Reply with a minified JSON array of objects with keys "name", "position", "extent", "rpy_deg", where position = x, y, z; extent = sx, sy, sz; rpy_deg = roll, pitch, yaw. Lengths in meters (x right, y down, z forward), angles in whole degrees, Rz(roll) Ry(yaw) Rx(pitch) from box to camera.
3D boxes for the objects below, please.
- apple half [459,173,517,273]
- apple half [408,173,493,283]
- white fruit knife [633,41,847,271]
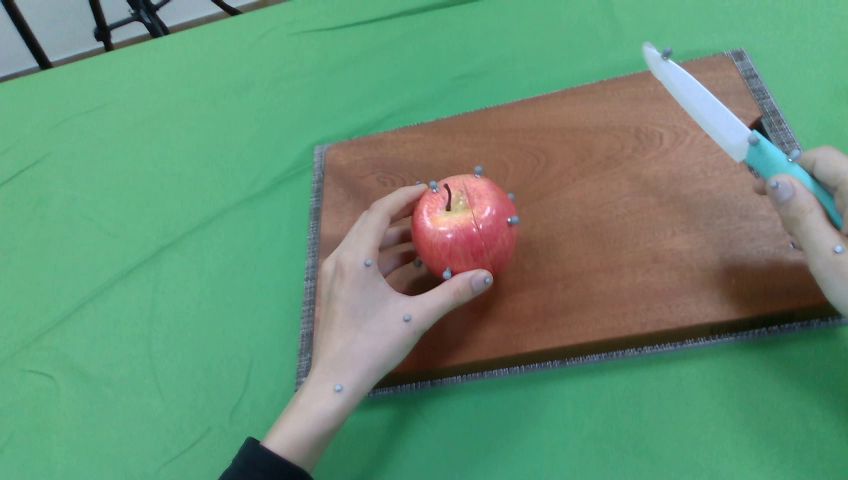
[{"name":"apple half","position":[0.053,-0.016,0.456],"extent":[0.033,0.082,0.080],"rpy_deg":[-21,52,6]},{"name":"apple half","position":[0.017,-0.003,0.460],"extent":[0.053,0.075,0.080],"rpy_deg":[-20,56,7]},{"name":"white fruit knife","position":[0.213,-0.061,0.400],"extent":[0.016,0.027,0.206],"rpy_deg":[-32,75,-39]}]
